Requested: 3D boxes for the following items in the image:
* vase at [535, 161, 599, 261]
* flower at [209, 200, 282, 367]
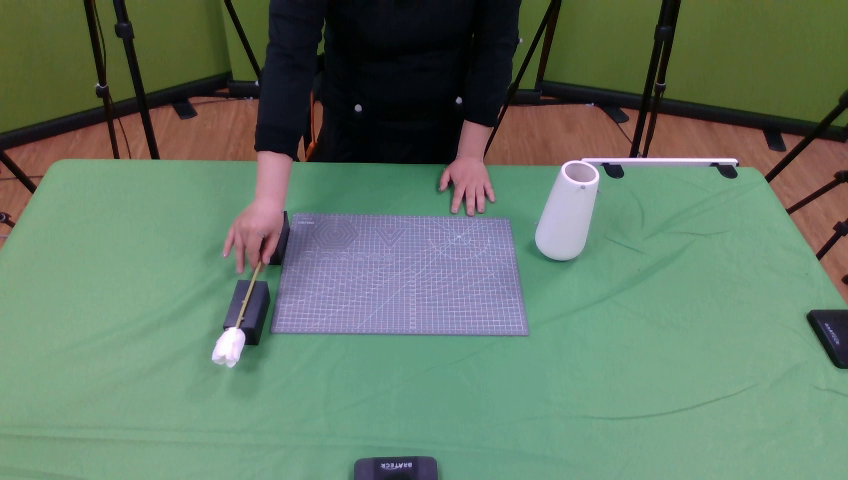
[{"bbox_3d":[0.271,-0.051,1.145,0.098,0.201,0.097,1,46,-1],"label":"vase"},{"bbox_3d":[-0.295,0.057,1.054,0.044,0.038,0.359,-9,45,18],"label":"flower"}]
